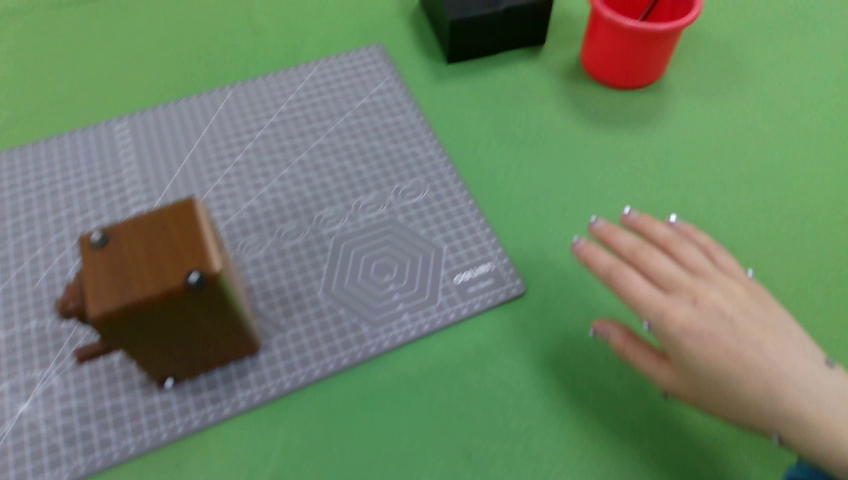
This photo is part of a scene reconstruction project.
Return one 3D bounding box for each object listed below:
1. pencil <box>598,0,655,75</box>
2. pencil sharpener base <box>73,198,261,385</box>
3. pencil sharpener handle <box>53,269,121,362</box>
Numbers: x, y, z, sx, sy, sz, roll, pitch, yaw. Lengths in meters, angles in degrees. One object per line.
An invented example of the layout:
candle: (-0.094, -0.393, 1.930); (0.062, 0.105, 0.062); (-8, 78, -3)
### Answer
pencil: (0.211, -0.229, 0.530); (0.012, 0.012, 0.194); (40, 106, 23)
pencil sharpener base: (-0.155, 0.037, 0.376); (0.077, 0.108, 0.061); (-21, 59, -13)
pencil sharpener handle: (-0.201, 0.049, 0.353); (0.031, 0.068, 0.035); (-21, 53, -13)
